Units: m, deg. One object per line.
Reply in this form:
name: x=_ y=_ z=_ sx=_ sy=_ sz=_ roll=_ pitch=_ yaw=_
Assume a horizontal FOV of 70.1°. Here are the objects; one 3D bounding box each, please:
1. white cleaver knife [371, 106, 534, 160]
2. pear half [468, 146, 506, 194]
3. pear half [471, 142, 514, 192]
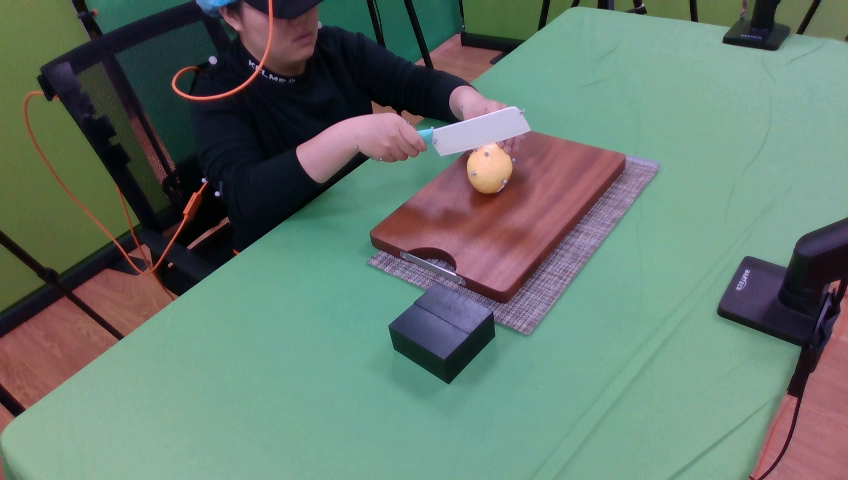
white cleaver knife: x=0.036 y=-0.162 z=0.988 sx=0.285 sy=0.066 sz=0.021 roll=-9 pitch=45 yaw=28
pear half: x=0.101 y=-0.111 z=1.002 sx=0.070 sy=0.088 sz=0.031 roll=15 pitch=45 yaw=16
pear half: x=0.116 y=-0.140 z=1.018 sx=0.076 sy=0.110 sz=0.056 roll=13 pitch=44 yaw=20
